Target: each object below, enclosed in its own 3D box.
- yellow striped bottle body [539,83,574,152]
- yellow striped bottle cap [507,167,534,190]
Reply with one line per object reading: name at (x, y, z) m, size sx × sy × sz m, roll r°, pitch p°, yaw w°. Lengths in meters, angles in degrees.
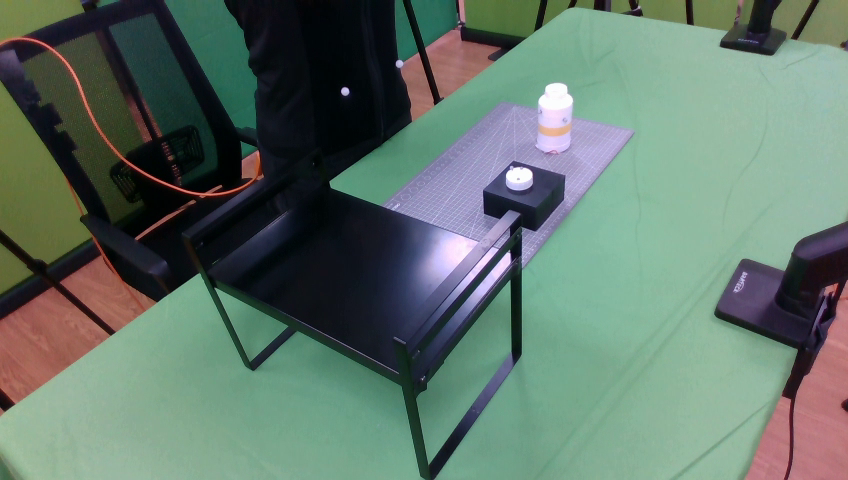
yellow striped bottle body at (0.246, -0.230, 1.127) m, size 0.063 × 0.121 × 0.062 m, roll -5°, pitch 41°, yaw 4°
yellow striped bottle cap at (0.159, -0.102, 0.995) m, size 0.044 × 0.019 × 0.044 m, roll -6°, pitch 39°, yaw 5°
